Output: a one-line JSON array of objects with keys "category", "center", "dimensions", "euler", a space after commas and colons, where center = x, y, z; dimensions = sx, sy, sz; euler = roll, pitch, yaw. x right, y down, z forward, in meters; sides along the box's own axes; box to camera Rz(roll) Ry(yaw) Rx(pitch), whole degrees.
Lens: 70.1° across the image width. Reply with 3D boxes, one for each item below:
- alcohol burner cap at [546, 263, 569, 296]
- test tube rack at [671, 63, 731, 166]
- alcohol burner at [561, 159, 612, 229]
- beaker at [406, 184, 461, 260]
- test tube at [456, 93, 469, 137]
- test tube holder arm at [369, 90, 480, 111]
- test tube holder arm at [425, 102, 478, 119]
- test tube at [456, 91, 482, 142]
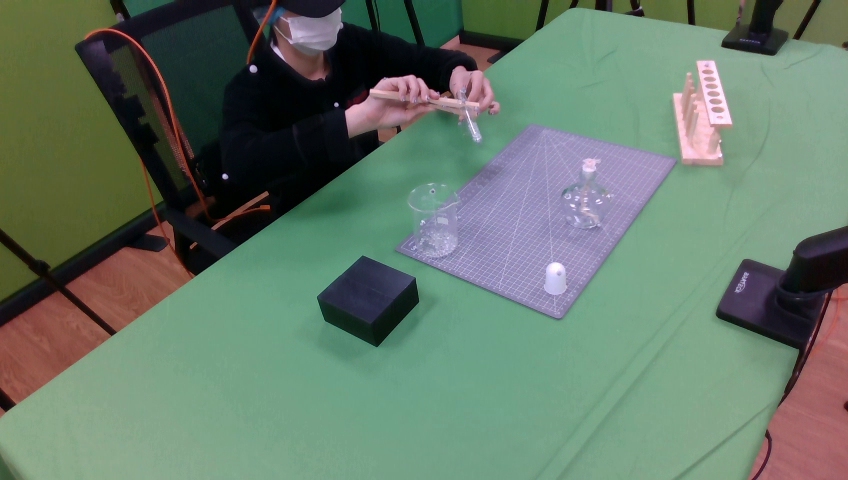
[{"category": "alcohol burner cap", "center": [0.191, 0.053, 0.862], "dimensions": [0.034, 0.048, 0.033], "euler": [-5, 40, 4]}, {"category": "test tube rack", "center": [0.513, -0.241, 1.132], "dimensions": [0.066, 0.085, 0.242], "euler": [4, 41, 14]}, {"category": "alcohol burner", "center": [0.257, -0.077, 0.951], "dimensions": [0.078, 0.119, 0.077], "euler": [-3, 40, 3]}, {"category": "beaker", "center": [0.019, -0.026, 0.939], "dimensions": [0.084, 0.101, 0.074], "euler": [1, 41, 9]}, {"category": "test tube", "center": [0.071, -0.224, 1.099], "dimensions": [0.017, 0.151, 0.017], "euler": [-2, 74, 7]}, {"category": "test tube holder arm", "center": [0.001, -0.225, 0.975], "dimensions": [0.179, 0.013, 0.015], "euler": [7, 36, -6]}, {"category": "test tube holder arm", "center": [0.044, -0.214, 0.984], "dimensions": [0.088, 0.010, 0.015], "euler": [12, 36, -10]}, {"category": "test tube", "center": [0.072, -0.199, 0.969], "dimensions": [0.017, 0.017, 0.149], "euler": [-10, 41, -2]}]
